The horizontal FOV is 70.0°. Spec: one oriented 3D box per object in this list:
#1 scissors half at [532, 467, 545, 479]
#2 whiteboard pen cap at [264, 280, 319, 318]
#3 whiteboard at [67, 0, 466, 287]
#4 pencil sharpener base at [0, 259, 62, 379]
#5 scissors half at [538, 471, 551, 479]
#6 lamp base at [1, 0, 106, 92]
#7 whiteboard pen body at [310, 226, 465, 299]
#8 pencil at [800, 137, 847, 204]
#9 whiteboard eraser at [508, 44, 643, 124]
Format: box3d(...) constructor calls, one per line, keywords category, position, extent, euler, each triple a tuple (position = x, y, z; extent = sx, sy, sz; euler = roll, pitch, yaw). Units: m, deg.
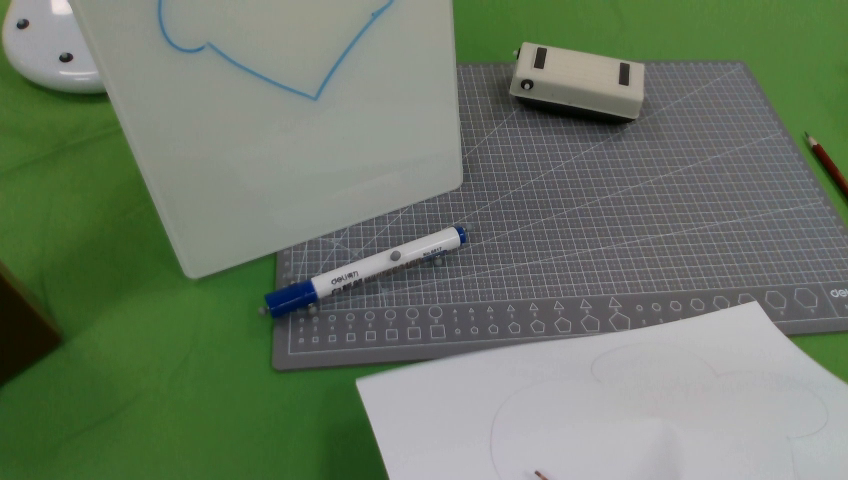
box3d(category="scissors half", position=(0.120, 0.161, 0.271), extent=(0.174, 0.040, 0.013), euler=(35, 77, 24))
box3d(category="whiteboard pen cap", position=(-0.088, 0.039, 0.401), extent=(0.033, 0.018, 0.018), euler=(-21, 59, -17))
box3d(category="whiteboard", position=(-0.107, -0.160, 0.406), extent=(0.217, 0.308, 0.142), euler=(-20, 39, -17))
box3d(category="pencil sharpener base", position=(-0.270, 0.037, 0.337), extent=(0.061, 0.108, 0.076), euler=(38, 60, 20))
box3d(category="scissors half", position=(0.120, 0.166, 0.294), extent=(0.175, 0.040, 0.013), euler=(41, 82, -7))
box3d(category="lamp base", position=(-0.294, -0.240, 0.486), extent=(0.178, 0.182, 0.160), euler=(31, 57, 19))
box3d(category="whiteboard pen body", position=(-0.035, 0.018, 0.419), extent=(0.141, 0.017, 0.017), euler=(-20, 58, -17))
box3d(category="pencil", position=(0.361, -0.019, 0.498), extent=(0.012, 0.012, 0.192), euler=(-6, 53, -9))
box3d(category="whiteboard eraser", position=(0.134, -0.136, 0.535), extent=(0.112, 0.042, 0.055), euler=(13, 55, 4))
